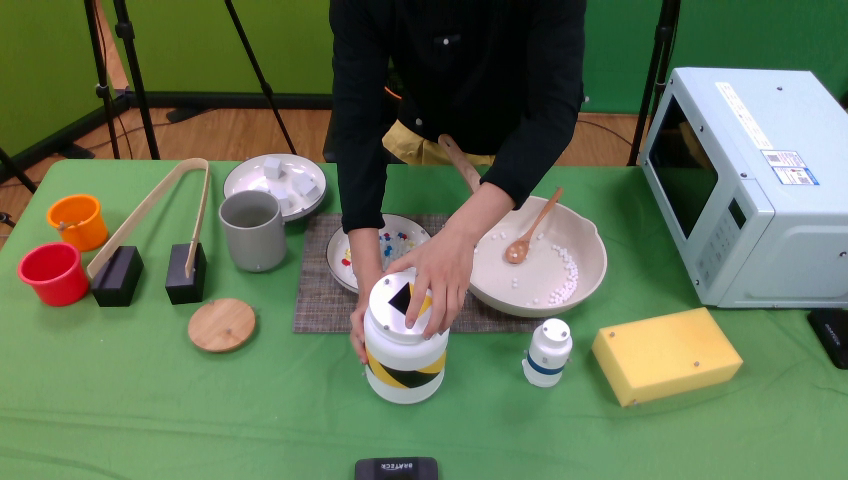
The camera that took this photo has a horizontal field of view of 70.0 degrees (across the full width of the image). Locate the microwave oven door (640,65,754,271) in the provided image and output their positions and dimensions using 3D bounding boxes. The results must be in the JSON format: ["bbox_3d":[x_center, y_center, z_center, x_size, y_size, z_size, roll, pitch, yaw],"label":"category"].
[{"bbox_3d":[0.523,-0.147,1.193,0.039,0.245,0.353,0,47,-3],"label":"microwave oven door"}]

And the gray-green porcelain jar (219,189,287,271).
[{"bbox_3d":[-0.309,-0.014,1.113,0.106,0.127,0.105,2,46,-2],"label":"gray-green porcelain jar"}]

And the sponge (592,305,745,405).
[{"bbox_3d":[0.405,0.190,1.015,0.207,0.061,0.117,-10,48,-12],"label":"sponge"}]

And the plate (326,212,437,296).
[{"bbox_3d":[-0.080,0.030,1.143,0.209,0.038,0.208,2,46,-2],"label":"plate"}]

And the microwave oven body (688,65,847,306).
[{"bbox_3d":[0.669,-0.111,1.176,0.326,0.261,0.439,0,46,-3],"label":"microwave oven body"}]

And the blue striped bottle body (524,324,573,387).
[{"bbox_3d":[0.200,0.178,0.970,0.063,0.121,0.062,2,46,-2],"label":"blue striped bottle body"}]

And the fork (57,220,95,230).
[{"bbox_3d":[-0.624,-0.027,1.086,0.028,0.207,0.018,-3,92,-17],"label":"fork"}]

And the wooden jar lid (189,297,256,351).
[{"bbox_3d":[-0.342,0.145,1.033,0.108,0.021,0.107,3,45,-2],"label":"wooden jar lid"}]

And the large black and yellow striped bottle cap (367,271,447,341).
[{"bbox_3d":[-0.024,0.093,0.871,0.115,0.019,0.114,5,49,-6],"label":"large black and yellow striped bottle cap"}]

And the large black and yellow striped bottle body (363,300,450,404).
[{"bbox_3d":[-0.027,0.153,0.935,0.131,0.185,0.130,2,47,-2],"label":"large black and yellow striped bottle body"}]

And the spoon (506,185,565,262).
[{"bbox_3d":[0.224,-0.034,1.188,0.041,0.022,0.193,31,79,28],"label":"spoon"}]

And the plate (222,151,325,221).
[{"bbox_3d":[-0.310,-0.106,1.262,0.208,0.039,0.206,2,47,-2],"label":"plate"}]

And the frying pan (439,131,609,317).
[{"bbox_3d":[0.149,-0.049,1.189,0.307,0.103,0.484,-17,58,-20],"label":"frying pan"}]

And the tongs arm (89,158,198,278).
[{"bbox_3d":[-0.529,-0.057,1.164,0.028,0.028,0.385,1,36,8],"label":"tongs arm"}]

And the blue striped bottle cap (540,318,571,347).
[{"bbox_3d":[0.203,0.142,0.933,0.044,0.021,0.044,3,49,-4],"label":"blue striped bottle cap"}]

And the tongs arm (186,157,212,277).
[{"bbox_3d":[-0.445,-0.058,1.168,0.051,0.026,0.382,-5,37,-6],"label":"tongs arm"}]

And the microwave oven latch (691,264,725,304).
[{"bbox_3d":[0.521,0.081,1.116,0.030,0.029,0.078,0,46,-3],"label":"microwave oven latch"}]
